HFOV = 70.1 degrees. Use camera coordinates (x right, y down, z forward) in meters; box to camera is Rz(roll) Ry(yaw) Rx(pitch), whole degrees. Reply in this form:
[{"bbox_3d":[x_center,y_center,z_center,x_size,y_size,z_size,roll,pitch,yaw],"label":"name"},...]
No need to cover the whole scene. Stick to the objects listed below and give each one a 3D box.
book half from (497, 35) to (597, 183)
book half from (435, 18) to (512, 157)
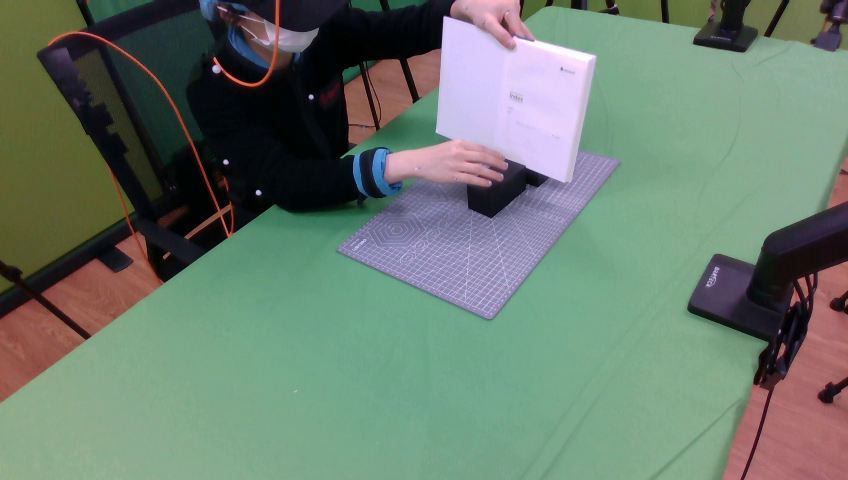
[{"bbox_3d":[0.191,-0.207,0.974,0.147,0.211,0.016,28,42,32],"label":"book half"},{"bbox_3d":[0.080,-0.261,1.045,0.142,0.210,0.007,27,40,32],"label":"book half"}]
